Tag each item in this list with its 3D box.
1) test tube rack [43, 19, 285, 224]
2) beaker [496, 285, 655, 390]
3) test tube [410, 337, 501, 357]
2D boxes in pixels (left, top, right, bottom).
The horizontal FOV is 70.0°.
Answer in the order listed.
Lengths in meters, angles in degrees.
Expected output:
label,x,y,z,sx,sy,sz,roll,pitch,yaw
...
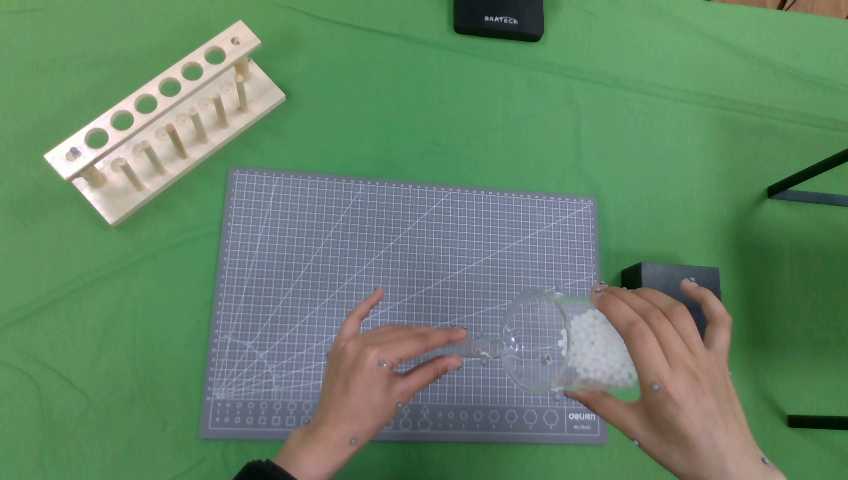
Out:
label,x,y,z,sx,sy,sz,roll,pitch,yaw
test tube rack,-0.269,-0.128,0.658,0.242,0.085,0.066,-42,86,-17
beaker,0.115,0.077,0.459,0.101,0.084,0.073,9,69,-31
test tube,0.023,0.094,0.533,0.017,0.150,0.017,5,79,-25
